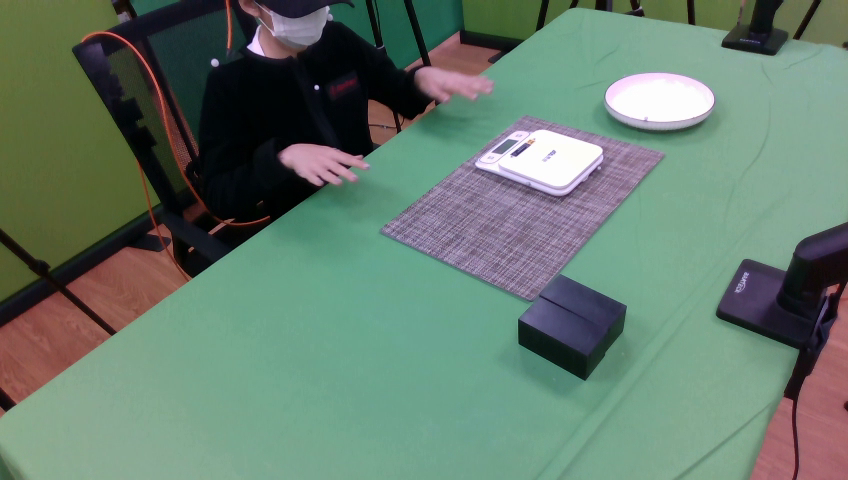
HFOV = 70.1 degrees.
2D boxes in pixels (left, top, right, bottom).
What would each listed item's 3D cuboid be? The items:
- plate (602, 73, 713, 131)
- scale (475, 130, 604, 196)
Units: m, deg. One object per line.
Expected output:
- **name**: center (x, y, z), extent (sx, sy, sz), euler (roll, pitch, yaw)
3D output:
- **plate**: center (0.463, -0.271, 1.210), extent (0.207, 0.039, 0.206), euler (-4, 40, 4)
- **scale**: center (0.209, -0.148, 1.105), extent (0.199, 0.032, 0.149), euler (26, 50, 34)
